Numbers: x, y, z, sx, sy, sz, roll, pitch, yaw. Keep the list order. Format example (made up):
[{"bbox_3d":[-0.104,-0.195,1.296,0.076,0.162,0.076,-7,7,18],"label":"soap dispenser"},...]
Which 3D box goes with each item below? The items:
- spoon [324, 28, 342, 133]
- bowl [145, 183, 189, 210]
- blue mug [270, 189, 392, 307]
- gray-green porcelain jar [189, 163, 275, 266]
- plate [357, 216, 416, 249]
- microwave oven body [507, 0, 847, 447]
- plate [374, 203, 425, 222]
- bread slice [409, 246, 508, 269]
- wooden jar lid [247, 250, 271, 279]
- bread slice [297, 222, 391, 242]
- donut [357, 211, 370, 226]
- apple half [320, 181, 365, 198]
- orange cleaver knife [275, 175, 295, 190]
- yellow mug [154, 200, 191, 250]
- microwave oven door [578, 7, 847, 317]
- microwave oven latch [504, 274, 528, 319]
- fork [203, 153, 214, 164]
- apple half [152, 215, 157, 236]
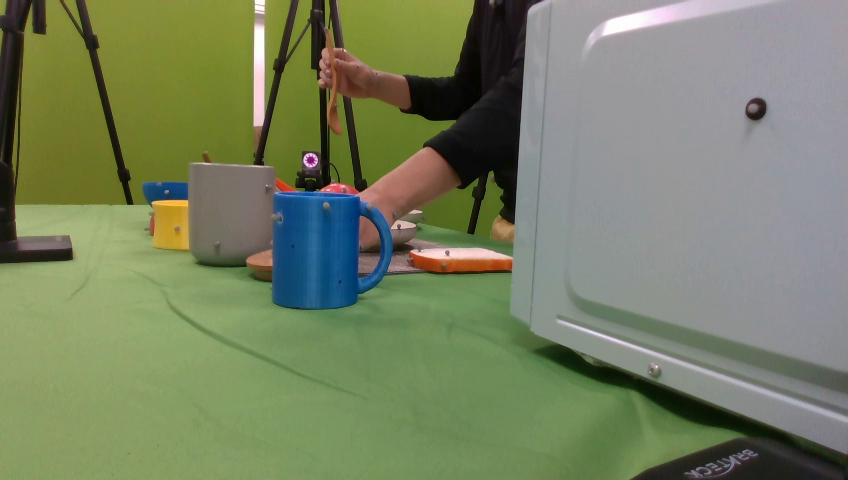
[{"bbox_3d":[-0.169,-0.293,1.113,0.021,0.193,0.042,-2,1,20],"label":"spoon"},{"bbox_3d":[-0.459,-0.068,1.175,0.151,0.077,0.151,3,7,0],"label":"bowl"},{"bbox_3d":[-0.090,0.005,0.588,0.117,0.106,0.082,1,7,-10],"label":"blue mug"},{"bbox_3d":[-0.246,-0.035,0.780,0.106,0.126,0.106,2,7,0],"label":"gray-green porcelain jar"},{"bbox_3d":[-0.116,-0.014,0.967,0.208,0.039,0.207,2,7,0],"label":"plate"},{"bbox_3d":[0.331,-0.042,0.425,0.444,0.260,0.324,-2,8,-31],"label":"microwave oven body"},{"bbox_3d":[-0.102,-0.053,1.299,0.209,0.038,0.209,2,8,0],"label":"plate"},{"bbox_3d":[0.048,0.022,0.816,0.132,0.019,0.104,0,7,-24],"label":"bread slice"},{"bbox_3d":[-0.150,0.024,0.708,0.108,0.020,0.108,-6,12,2],"label":"wooden jar lid"},{"bbox_3d":[-0.121,-0.014,0.970,0.106,0.018,0.135,10,11,41],"label":"bread slice"},{"bbox_3d":[-0.132,-0.042,0.959,0.099,0.048,0.099,2,7,0],"label":"donut"},{"bbox_3d":[-0.130,-0.077,0.952,0.081,0.033,0.081,4,13,-1],"label":"apple half"},{"bbox_3d":[-0.283,-0.087,1.343,0.212,0.077,0.012,24,-16,-41],"label":"orange cleaver knife"},{"bbox_3d":[-0.337,-0.023,0.899,0.130,0.064,0.100,8,9,35],"label":"yellow mug"},{"bbox_3d":[0.294,-0.067,0.571,0.358,0.243,0.039,-3,9,-31],"label":"microwave oven door"},{"bbox_3d":[0.100,0.041,0.471,0.079,0.029,0.030,-1,7,-28],"label":"microwave oven latch"},{"bbox_3d":[-0.480,-0.134,1.411,0.028,0.018,0.207,1,-35,0],"label":"fork"},{"bbox_3d":[-0.415,-0.034,1.017,0.081,0.053,0.074,1,10,-9],"label":"apple half"}]
